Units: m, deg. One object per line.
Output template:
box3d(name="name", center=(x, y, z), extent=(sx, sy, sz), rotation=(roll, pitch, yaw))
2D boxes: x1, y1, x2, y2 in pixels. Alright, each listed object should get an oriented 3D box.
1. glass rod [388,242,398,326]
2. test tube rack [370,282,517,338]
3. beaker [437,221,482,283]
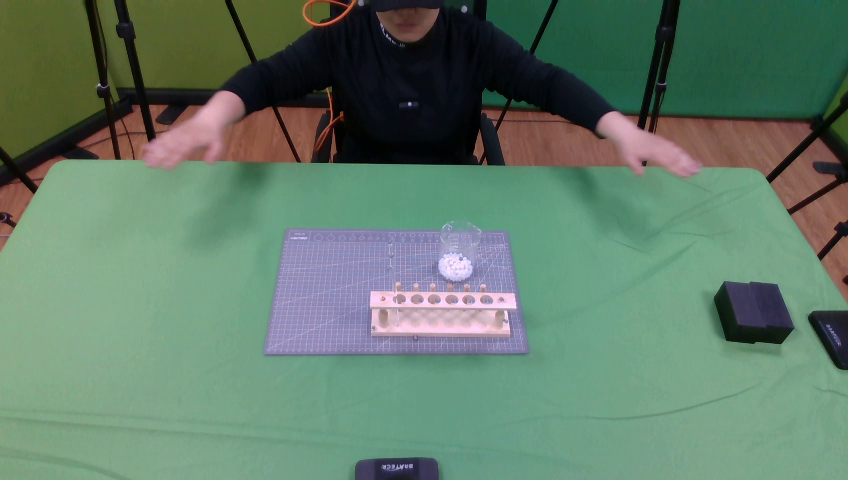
box3d(name="glass rod", center=(-0.051, 0.076, 0.981), extent=(0.008, 0.201, 0.008), rotation=(-1, 44, 1))
box3d(name="test tube rack", center=(0.030, 0.116, 1.041), extent=(0.242, 0.085, 0.066), rotation=(1, 46, -3))
box3d(name="beaker", center=(0.064, 0.024, 1.124), extent=(0.084, 0.101, 0.073), rotation=(-13, 49, -17))
